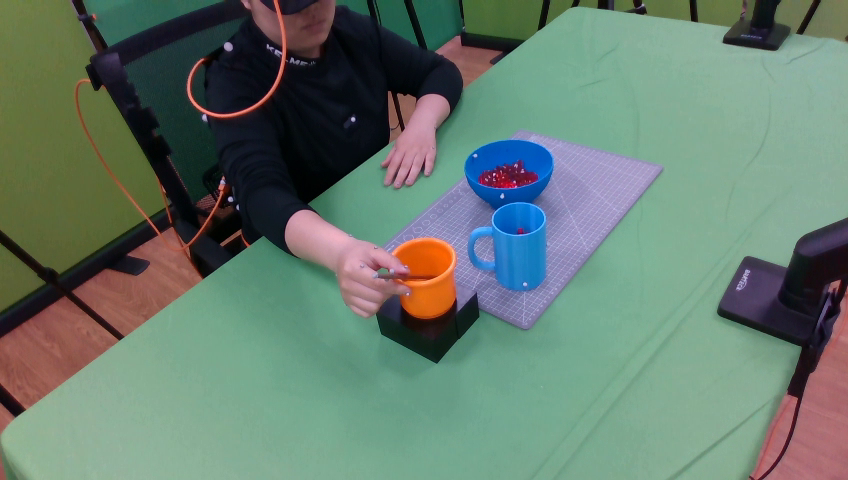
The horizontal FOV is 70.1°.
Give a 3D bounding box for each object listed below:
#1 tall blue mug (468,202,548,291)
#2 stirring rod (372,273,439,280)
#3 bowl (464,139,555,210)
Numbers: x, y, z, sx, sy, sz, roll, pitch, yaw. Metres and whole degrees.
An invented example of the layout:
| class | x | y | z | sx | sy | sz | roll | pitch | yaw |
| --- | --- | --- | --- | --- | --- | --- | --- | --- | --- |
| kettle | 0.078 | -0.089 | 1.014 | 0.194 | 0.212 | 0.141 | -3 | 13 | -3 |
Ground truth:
| class | x | y | z | sx | sy | sz | roll | pitch | yaw |
| --- | --- | --- | --- | --- | --- | --- | --- | --- | --- |
| tall blue mug | 0.125 | 0.015 | 0.868 | 0.107 | 0.108 | 0.077 | -21 | 42 | -14 |
| stirring rod | -0.019 | 0.046 | 0.761 | 0.014 | 0.006 | 0.177 | 8 | -1 | 23 |
| bowl | 0.146 | -0.100 | 1.025 | 0.151 | 0.077 | 0.150 | -5 | 40 | 5 |
